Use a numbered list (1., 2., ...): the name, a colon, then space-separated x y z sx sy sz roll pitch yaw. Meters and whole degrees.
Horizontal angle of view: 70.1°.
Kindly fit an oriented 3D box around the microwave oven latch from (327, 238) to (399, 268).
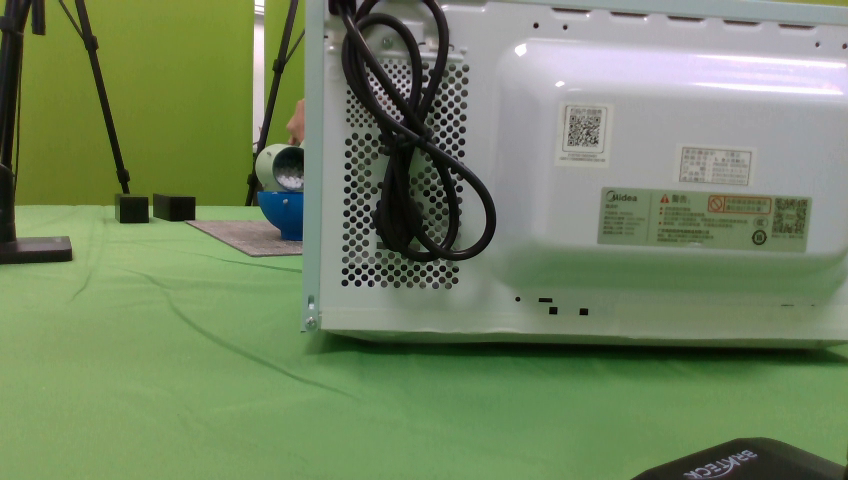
1. microwave oven latch: -0.069 0.015 0.694 0.079 0.029 0.030 3 7 -3

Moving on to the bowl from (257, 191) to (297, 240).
1. bowl: -0.207 -0.041 1.027 0.151 0.077 0.151 2 6 0

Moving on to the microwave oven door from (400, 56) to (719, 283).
1. microwave oven door: 0.155 -0.077 0.697 0.356 0.243 0.039 2 8 -5

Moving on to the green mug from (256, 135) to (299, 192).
1. green mug: -0.247 -0.146 1.114 0.093 0.125 0.104 32 -10 -28

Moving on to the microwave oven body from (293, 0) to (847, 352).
1. microwave oven body: 0.122 -0.055 0.550 0.442 0.260 0.325 3 7 -5
